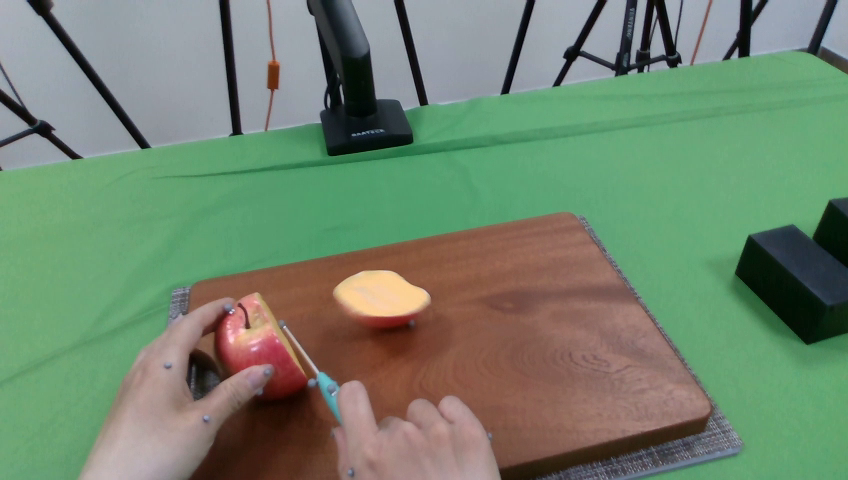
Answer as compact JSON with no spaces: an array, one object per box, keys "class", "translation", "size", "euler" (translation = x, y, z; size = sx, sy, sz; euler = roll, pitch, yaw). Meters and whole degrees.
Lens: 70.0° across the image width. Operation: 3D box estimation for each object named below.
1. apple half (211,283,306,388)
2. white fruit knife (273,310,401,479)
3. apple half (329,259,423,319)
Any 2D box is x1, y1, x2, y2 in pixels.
[{"class":"apple half","translation":[-0.133,0.082,0.471],"size":[0.053,0.075,0.080],"euler":[-33,52,-13]},{"class":"white fruit knife","translation":[-0.075,0.104,0.452],"size":[0.016,0.028,0.205],"euler":[-29,38,-21]},{"class":"apple half","translation":[-0.044,0.050,0.526],"size":[0.081,0.033,0.080],"euler":[4,27,-2]}]
